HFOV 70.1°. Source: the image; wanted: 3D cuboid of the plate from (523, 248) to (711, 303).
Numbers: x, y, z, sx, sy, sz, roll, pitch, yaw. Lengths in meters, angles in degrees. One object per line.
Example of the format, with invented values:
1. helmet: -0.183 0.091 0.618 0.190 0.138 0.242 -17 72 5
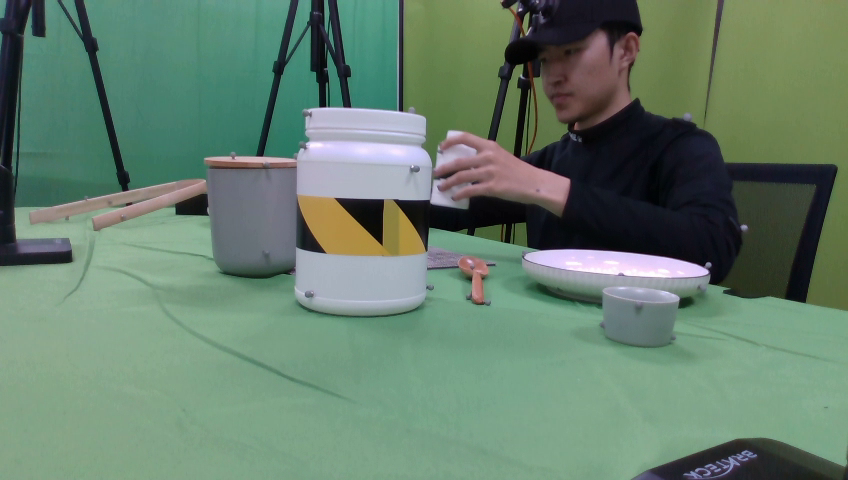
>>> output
1. plate: 0.219 0.041 0.706 0.209 0.038 0.209 2 7 0

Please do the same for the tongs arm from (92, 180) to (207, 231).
1. tongs arm: -0.534 -0.076 1.221 0.028 0.028 0.388 -2 15 12

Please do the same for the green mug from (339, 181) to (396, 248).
1. green mug: -0.097 -0.044 0.995 0.093 0.105 0.125 -1 8 -21

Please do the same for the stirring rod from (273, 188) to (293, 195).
1. stirring rod: -0.353 -0.122 1.518 0.006 0.014 0.176 1 7 2

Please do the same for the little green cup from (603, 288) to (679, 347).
1. little green cup: 0.180 0.064 0.505 0.061 0.038 0.061 2 7 0

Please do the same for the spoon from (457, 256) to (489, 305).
1. spoon: 0.059 0.044 0.696 0.041 0.021 0.193 21 7 0

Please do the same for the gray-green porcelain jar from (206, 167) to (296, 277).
1. gray-green porcelain jar: -0.201 -0.024 0.724 0.106 0.126 0.106 -1 9 1

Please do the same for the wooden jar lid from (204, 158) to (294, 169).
1. wooden jar lid: -0.202 -0.086 0.714 0.108 0.020 0.108 3 11 0

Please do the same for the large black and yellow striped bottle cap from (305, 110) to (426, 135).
1. large black and yellow striped bottle cap: -0.055 -0.110 0.574 0.115 0.019 0.115 1 7 0

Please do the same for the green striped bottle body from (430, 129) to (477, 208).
1. green striped bottle body: 0.048 -0.113 0.957 0.063 0.119 0.063 8 4 0

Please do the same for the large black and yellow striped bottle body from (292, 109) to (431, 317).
1. large black and yellow striped bottle body: -0.060 -0.028 0.585 0.131 0.184 0.130 3 7 0

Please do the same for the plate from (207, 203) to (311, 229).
1. plate: -0.342 -0.050 1.259 0.208 0.039 0.207 3 7 0

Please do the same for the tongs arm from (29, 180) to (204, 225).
1. tongs arm: -0.609 -0.083 1.245 0.050 0.026 0.386 5 16 23

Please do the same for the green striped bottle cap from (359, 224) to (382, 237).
1. green striped bottle cap: -0.101 -0.017 1.138 0.044 0.020 0.044 1 11 0
